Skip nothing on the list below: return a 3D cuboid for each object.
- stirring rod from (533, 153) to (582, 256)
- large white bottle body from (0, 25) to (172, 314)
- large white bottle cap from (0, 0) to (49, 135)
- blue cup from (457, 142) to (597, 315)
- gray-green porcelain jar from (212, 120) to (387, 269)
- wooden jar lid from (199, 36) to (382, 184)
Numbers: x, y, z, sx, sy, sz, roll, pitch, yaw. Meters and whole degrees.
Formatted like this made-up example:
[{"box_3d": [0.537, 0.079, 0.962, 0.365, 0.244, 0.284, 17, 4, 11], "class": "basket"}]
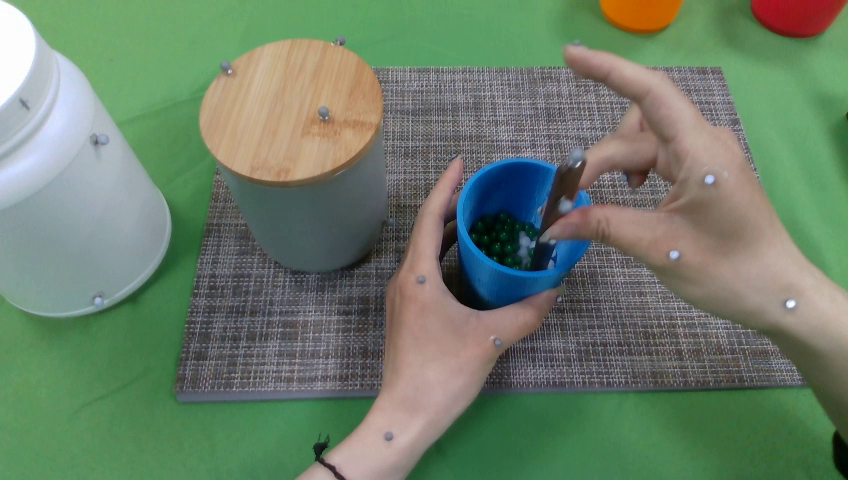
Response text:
[{"box_3d": [0.069, -0.004, 0.337, 0.014, 0.177, 0.006, -34, 71, -7], "class": "stirring rod"}, {"box_3d": [-0.257, -0.044, 0.387, 0.130, 0.186, 0.129, 0, 61, 0], "class": "large white bottle body"}, {"box_3d": [-0.257, -0.085, 0.312, 0.115, 0.018, 0.114, 1, 62, -1], "class": "large white bottle cap"}, {"box_3d": [0.061, 0.005, 0.408, 0.093, 0.101, 0.092, 1, 62, -2], "class": "blue cup"}, {"box_3d": [-0.080, -0.046, 0.421, 0.106, 0.127, 0.105, 0, 61, 0], "class": "gray-green porcelain jar"}, {"box_3d": [-0.079, -0.077, 0.366, 0.108, 0.021, 0.107, -1, 62, 2], "class": "wooden jar lid"}]
